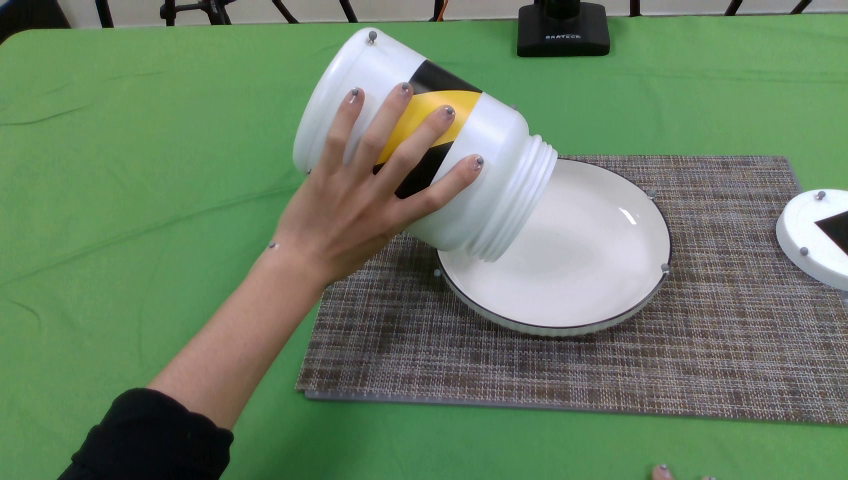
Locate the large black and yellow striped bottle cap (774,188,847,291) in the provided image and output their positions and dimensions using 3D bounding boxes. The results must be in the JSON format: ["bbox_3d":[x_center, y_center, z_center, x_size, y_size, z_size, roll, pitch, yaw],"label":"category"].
[{"bbox_3d":[0.378,-0.002,0.543,0.115,0.019,0.114,-1,49,1],"label":"large black and yellow striped bottle cap"}]

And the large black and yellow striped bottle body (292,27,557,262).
[{"bbox_3d":[0.003,-0.072,0.496,0.184,0.131,0.130,29,53,-3],"label":"large black and yellow striped bottle body"}]

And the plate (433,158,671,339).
[{"bbox_3d":[0.112,0.006,0.549,0.207,0.039,0.205,-3,47,3],"label":"plate"}]
